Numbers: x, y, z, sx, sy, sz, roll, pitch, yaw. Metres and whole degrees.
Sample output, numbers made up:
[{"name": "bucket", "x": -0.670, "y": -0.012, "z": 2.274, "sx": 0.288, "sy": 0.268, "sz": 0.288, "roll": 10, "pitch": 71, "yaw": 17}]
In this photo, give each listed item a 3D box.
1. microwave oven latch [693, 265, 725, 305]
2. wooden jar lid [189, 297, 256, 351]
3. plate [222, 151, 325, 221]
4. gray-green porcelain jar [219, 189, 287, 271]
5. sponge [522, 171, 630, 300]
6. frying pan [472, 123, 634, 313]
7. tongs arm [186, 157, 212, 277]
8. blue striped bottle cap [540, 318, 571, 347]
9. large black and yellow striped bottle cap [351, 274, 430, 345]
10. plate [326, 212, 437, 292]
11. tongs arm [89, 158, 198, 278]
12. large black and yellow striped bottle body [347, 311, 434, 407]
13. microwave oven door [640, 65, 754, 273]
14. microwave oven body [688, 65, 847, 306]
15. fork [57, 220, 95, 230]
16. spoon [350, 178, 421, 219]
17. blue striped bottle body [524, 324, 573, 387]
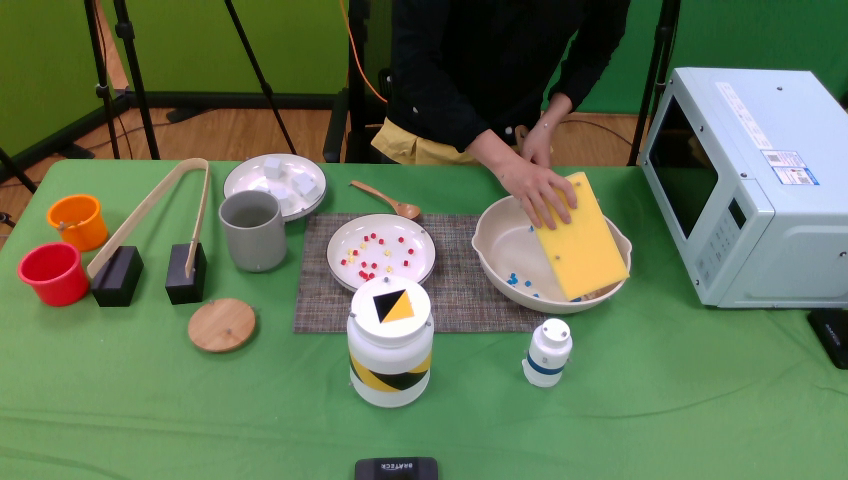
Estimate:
[{"name": "microwave oven latch", "x": 0.523, "y": 0.082, "z": 1.116, "sx": 0.030, "sy": 0.029, "sz": 0.078, "roll": 2, "pitch": 46, "yaw": -1}, {"name": "wooden jar lid", "x": -0.342, "y": 0.145, "z": 1.033, "sx": 0.108, "sy": 0.021, "sz": 0.107, "roll": 2, "pitch": 45, "yaw": -2}, {"name": "plate", "x": -0.310, "y": -0.106, "z": 1.262, "sx": 0.208, "sy": 0.039, "sz": 0.206, "roll": 2, "pitch": 47, "yaw": -2}, {"name": "gray-green porcelain jar", "x": -0.309, "y": -0.014, "z": 1.113, "sx": 0.106, "sy": 0.127, "sz": 0.105, "roll": 2, "pitch": 46, "yaw": -2}, {"name": "sponge", "x": 0.273, "y": -0.009, "z": 1.096, "sx": 0.118, "sy": 0.207, "sz": 0.061, "roll": -24, "pitch": 4, "yaw": 7}, {"name": "frying pan", "x": 0.235, "y": -0.060, "z": 1.207, "sx": 0.307, "sy": 0.103, "sz": 0.484, "roll": 1, "pitch": 54, "yaw": -6}, {"name": "tongs arm", "x": -0.445, "y": -0.058, "z": 1.168, "sx": 0.051, "sy": 0.026, "sz": 0.382, "roll": -5, "pitch": 37, "yaw": -6}, {"name": "blue striped bottle cap", "x": 0.203, "y": 0.142, "z": 0.933, "sx": 0.044, "sy": 0.021, "sz": 0.044, "roll": 3, "pitch": 49, "yaw": -3}, {"name": "large black and yellow striped bottle cap", "x": -0.048, "y": 0.097, "z": 0.867, "sx": 0.115, "sy": 0.019, "sz": 0.114, "roll": 3, "pitch": 48, "yaw": -3}, {"name": "plate", "x": -0.080, "y": 0.030, "z": 1.143, "sx": 0.209, "sy": 0.038, "sz": 0.208, "roll": 3, "pitch": 46, "yaw": -2}, {"name": "tongs arm", "x": -0.529, "y": -0.057, "z": 1.164, "sx": 0.028, "sy": 0.028, "sz": 0.385, "roll": 1, "pitch": 36, "yaw": 8}, {"name": "large black and yellow striped bottle body", "x": -0.052, "y": 0.157, "z": 0.929, "sx": 0.131, "sy": 0.185, "sz": 0.130, "roll": 2, "pitch": 47, "yaw": -2}, {"name": "microwave oven door", "x": 0.523, "y": -0.147, "z": 1.193, "sx": 0.039, "sy": 0.245, "sz": 0.353, "roll": 0, "pitch": 47, "yaw": -3}, {"name": "microwave oven body", "x": 0.669, "y": -0.111, "z": 1.176, "sx": 0.326, "sy": 0.261, "sz": 0.439, "roll": 0, "pitch": 46, "yaw": -3}, {"name": "fork", "x": -0.624, "y": -0.027, "z": 1.087, "sx": 0.028, "sy": 0.207, "sz": 0.018, "roll": -3, "pitch": 92, "yaw": -17}, {"name": "spoon", "x": -0.084, "y": -0.092, "z": 1.272, "sx": 0.193, "sy": 0.022, "sz": 0.041, "roll": 31, "pitch": 69, "yaw": 25}, {"name": "blue striped bottle body", "x": 0.200, "y": 0.178, "z": 0.970, "sx": 0.063, "sy": 0.121, "sz": 0.062, "roll": 2, "pitch": 46, "yaw": -2}]
